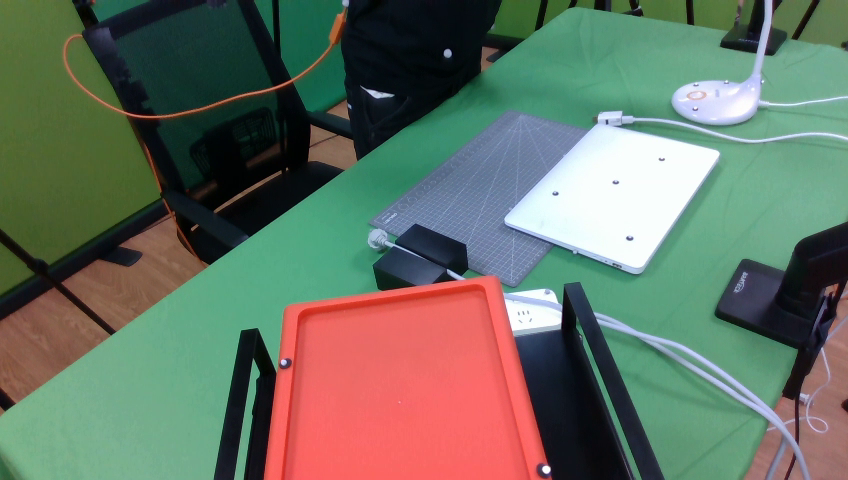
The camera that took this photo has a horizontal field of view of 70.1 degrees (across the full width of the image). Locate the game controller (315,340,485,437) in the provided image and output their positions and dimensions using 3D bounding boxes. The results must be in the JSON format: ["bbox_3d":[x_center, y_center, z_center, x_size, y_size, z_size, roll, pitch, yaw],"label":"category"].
[{"bbox_3d":[-0.021,0.120,0.533,0.155,0.052,0.096,-3,38,1],"label":"game controller"}]

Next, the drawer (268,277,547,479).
[{"bbox_3d":[-0.018,0.137,0.493,0.195,0.073,0.210,-7,41,-1],"label":"drawer"}]

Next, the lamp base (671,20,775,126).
[{"bbox_3d":[0.581,-0.332,1.154,0.179,0.181,0.160,2,42,7],"label":"lamp base"}]

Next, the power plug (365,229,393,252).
[{"bbox_3d":[-0.068,0.010,0.954,0.035,0.053,0.072,-38,52,2],"label":"power plug"}]

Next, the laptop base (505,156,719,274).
[{"bbox_3d":[0.326,-0.083,1.027,0.233,0.023,0.355,21,48,32],"label":"laptop base"}]

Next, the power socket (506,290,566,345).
[{"bbox_3d":[0.081,0.112,0.822,0.227,0.033,0.072,-7,41,0],"label":"power socket"}]

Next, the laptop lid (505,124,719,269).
[{"bbox_3d":[0.323,-0.093,1.021,0.240,0.013,0.358,23,49,32],"label":"laptop lid"}]

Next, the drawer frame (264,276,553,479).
[{"bbox_3d":[-0.016,0.137,0.490,0.202,0.083,0.212,-8,41,-2],"label":"drawer frame"}]

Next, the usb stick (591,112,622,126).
[{"bbox_3d":[0.360,-0.239,1.196,0.059,0.021,0.027,4,42,27],"label":"usb stick"}]
